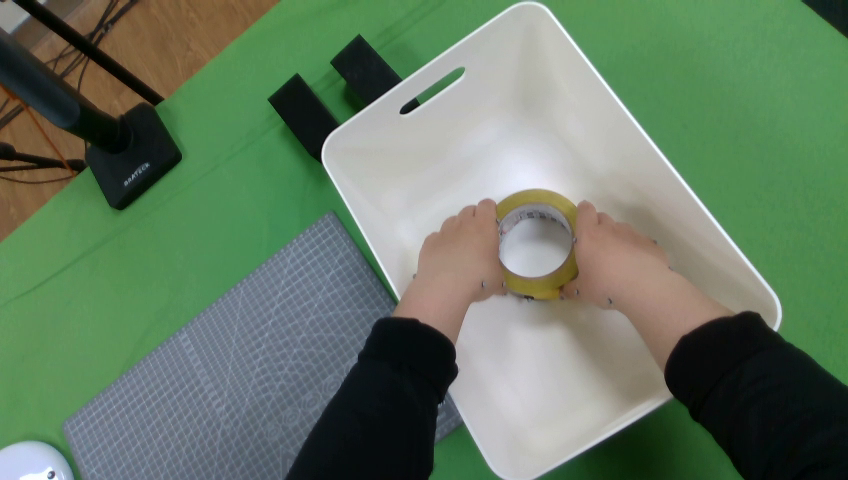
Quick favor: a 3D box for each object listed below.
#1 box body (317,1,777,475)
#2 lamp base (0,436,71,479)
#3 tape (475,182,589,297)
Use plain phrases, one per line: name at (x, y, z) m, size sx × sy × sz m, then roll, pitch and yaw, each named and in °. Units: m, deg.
box body at (0.100, -0.001, 0.590) m, size 0.254 × 0.161 × 0.361 m, roll -33°, pitch 71°, yaw 6°
lamp base at (-0.543, 0.310, 0.690) m, size 0.178 × 0.181 × 0.160 m, roll 0°, pitch 77°, yaw 19°
tape at (0.113, 0.000, 0.638) m, size 0.116 × 0.053 × 0.116 m, roll -4°, pitch 76°, yaw 15°
